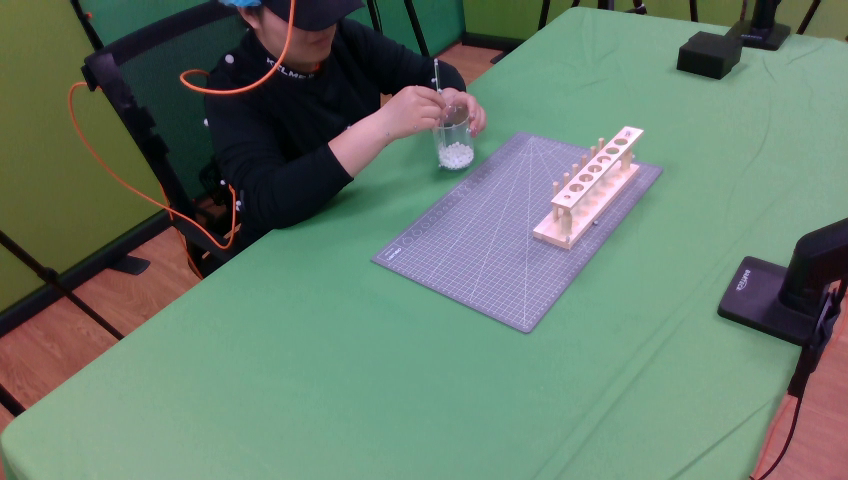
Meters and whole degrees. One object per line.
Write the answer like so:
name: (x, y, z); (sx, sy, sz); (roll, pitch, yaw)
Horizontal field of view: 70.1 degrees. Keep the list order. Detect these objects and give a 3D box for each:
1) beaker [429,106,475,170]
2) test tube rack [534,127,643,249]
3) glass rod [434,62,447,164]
beaker: (0.055, -0.188, 1.118); (0.073, 0.101, 0.084); (4, 45, 18)
test tube rack: (0.271, -0.094, 0.990); (0.066, 0.085, 0.243); (23, 50, 34)
glass rod: (0.030, -0.220, 1.079); (0.008, 0.200, 0.008); (-4, 39, 4)
